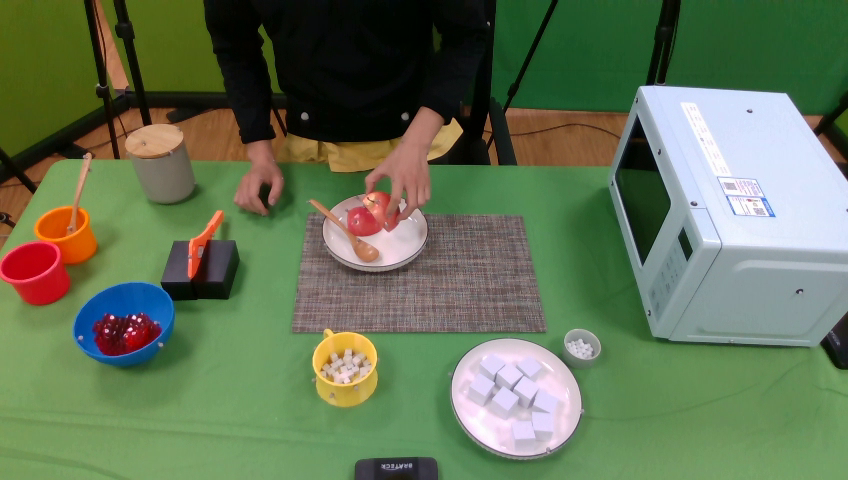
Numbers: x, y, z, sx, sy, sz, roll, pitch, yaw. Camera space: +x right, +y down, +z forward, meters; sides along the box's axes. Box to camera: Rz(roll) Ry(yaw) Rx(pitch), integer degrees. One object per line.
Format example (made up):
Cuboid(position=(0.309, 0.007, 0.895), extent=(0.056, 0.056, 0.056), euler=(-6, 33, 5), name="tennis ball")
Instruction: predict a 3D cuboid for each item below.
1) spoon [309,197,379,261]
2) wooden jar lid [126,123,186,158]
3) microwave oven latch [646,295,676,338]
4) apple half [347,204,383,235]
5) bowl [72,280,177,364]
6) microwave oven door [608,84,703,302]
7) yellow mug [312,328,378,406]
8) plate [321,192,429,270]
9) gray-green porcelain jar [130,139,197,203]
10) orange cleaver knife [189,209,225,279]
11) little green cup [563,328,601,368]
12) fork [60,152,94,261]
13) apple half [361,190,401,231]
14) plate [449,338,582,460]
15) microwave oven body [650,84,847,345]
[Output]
Cuboid(position=(-0.158, -0.025, 1.173), extent=(0.041, 0.022, 0.193), euler=(-41, 73, -19), name="spoon")
Cuboid(position=(-0.519, -0.190, 1.179), extent=(0.108, 0.021, 0.107), euler=(2, 44, -2), name="wooden jar lid")
Cuboid(position=(0.412, 0.133, 1.061), extent=(0.030, 0.029, 0.078), euler=(3, 46, 0), name="microwave oven latch")
Cuboid(position=(-0.117, -0.049, 1.206), extent=(0.081, 0.033, 0.081), euler=(0, 49, 0), name="apple half")
Cuboid(position=(-0.473, 0.147, 0.982), extent=(0.151, 0.077, 0.150), euler=(2, 46, -2), name="bowl")
Cuboid(position=(0.424, -0.096, 1.138), extent=(0.039, 0.245, 0.353), euler=(2, 47, -1), name="microwave oven door")
Cuboid(position=(-0.132, 0.193, 0.971), extent=(0.100, 0.064, 0.130), euler=(-22, 51, -22), name="yellow mug")
Cuboid(position=(-0.094, -0.015, 1.185), extent=(0.209, 0.038, 0.208), euler=(2, 45, -2), name="plate")
Cuboid(position=(-0.522, -0.148, 1.225), extent=(0.106, 0.127, 0.105), euler=(2, 47, -2), name="gray-green porcelain jar")
Cuboid(position=(-0.401, 0.002, 1.122), extent=(0.012, 0.077, 0.210), euler=(4, 23, -4), name="orange cleaver knife")
Cuboid(position=(0.265, 0.185, 1.025), extent=(0.061, 0.039, 0.061), euler=(1, 45, -1), name="little green cup")
Cuboid(position=(-0.637, -0.063, 1.119), extent=(0.028, 0.019, 0.207), euler=(11, 90, 16), name="fork")
Cuboid(position=(-0.073, -0.060, 1.140), extent=(0.053, 0.075, 0.080), euler=(-39, 37, -3), name="apple half")
Cuboid(position=(0.141, 0.251, 0.956), extent=(0.208, 0.039, 0.206), euler=(2, 46, -2), name="plate")
Cuboid(position=(0.569, -0.054, 1.116), extent=(0.326, 0.261, 0.439), euler=(2, 46, -1), name="microwave oven body")
